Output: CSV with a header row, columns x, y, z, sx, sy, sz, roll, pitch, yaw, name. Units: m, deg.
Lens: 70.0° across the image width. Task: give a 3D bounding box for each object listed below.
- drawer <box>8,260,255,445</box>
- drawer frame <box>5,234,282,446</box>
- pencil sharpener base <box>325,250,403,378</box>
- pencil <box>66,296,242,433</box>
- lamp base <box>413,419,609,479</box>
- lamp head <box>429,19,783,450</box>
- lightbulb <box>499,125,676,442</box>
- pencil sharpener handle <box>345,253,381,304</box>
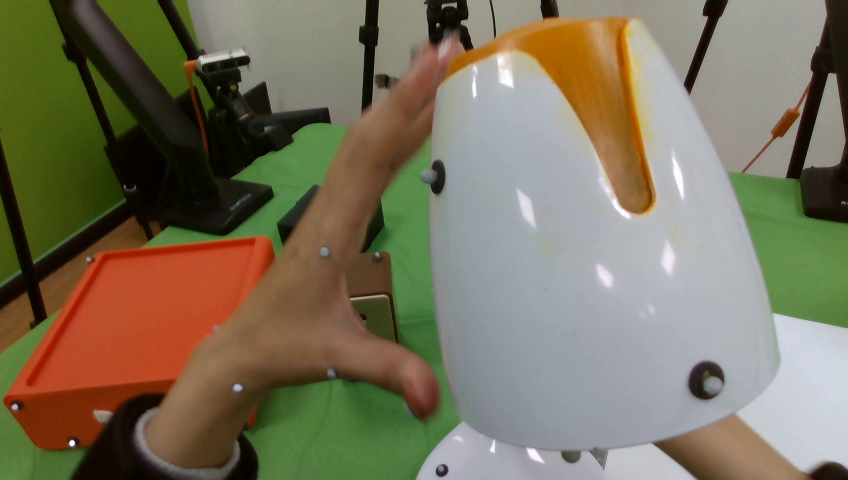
x,y,z,sx,sy,sz,roll,pitch,yaw,name
-0.260,0.095,0.614,0.194,0.074,0.209,-6,33,-1,drawer
-0.262,0.092,0.615,0.202,0.083,0.211,-7,34,-1,drawer frame
-0.057,0.072,0.597,0.061,0.108,0.076,-6,35,-1,pencil sharpener base
-0.256,0.116,0.590,0.012,0.012,0.194,28,58,38,pencil
0.057,0.134,0.428,0.161,0.182,0.177,-8,32,-1,lamp base
0.049,-0.010,0.209,0.112,0.123,0.112,-15,4,2,lamp head
0.054,0.016,0.206,0.059,0.108,0.059,-4,11,1,lightbulb
-0.063,0.034,0.632,0.036,0.068,0.030,-1,34,-4,pencil sharpener handle
